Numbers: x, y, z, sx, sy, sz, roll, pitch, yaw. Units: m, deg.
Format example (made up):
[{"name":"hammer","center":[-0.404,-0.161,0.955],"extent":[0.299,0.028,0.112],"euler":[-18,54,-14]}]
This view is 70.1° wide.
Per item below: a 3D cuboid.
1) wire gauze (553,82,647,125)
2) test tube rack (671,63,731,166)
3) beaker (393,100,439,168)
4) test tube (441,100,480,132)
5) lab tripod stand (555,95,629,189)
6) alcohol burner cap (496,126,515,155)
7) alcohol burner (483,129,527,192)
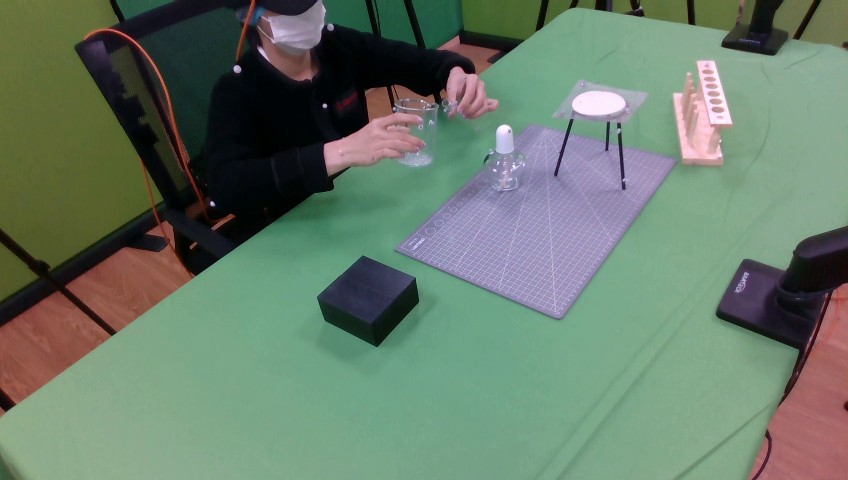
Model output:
[{"name":"wire gauze","center":[0.293,-0.225,1.002],"extent":[0.120,0.011,0.125],"euler":[17,45,27]},{"name":"test tube rack","center":[0.513,-0.241,1.132],"extent":[0.066,0.085,0.242],"euler":[4,41,14]},{"name":"beaker","center":[-0.014,-0.177,1.012],"extent":[0.073,0.100,0.084],"euler":[16,27,24]},{"name":"test tube","center":[0.070,-0.226,1.114],"extent":[0.017,0.151,0.017],"euler":[-4,80,27]},{"name":"lab tripod stand","center":[0.300,-0.174,1.045],"extent":[0.148,0.132,0.147],"euler":[-5,38,5]},{"name":"alcohol burner cap","center":[0.138,-0.172,1.028],"extent":[0.034,0.048,0.033],"euler":[-5,38,4]},{"name":"alcohol burner","center":[0.141,-0.144,1.050],"extent":[0.078,0.119,0.077],"euler":[-4,42,4]}]
